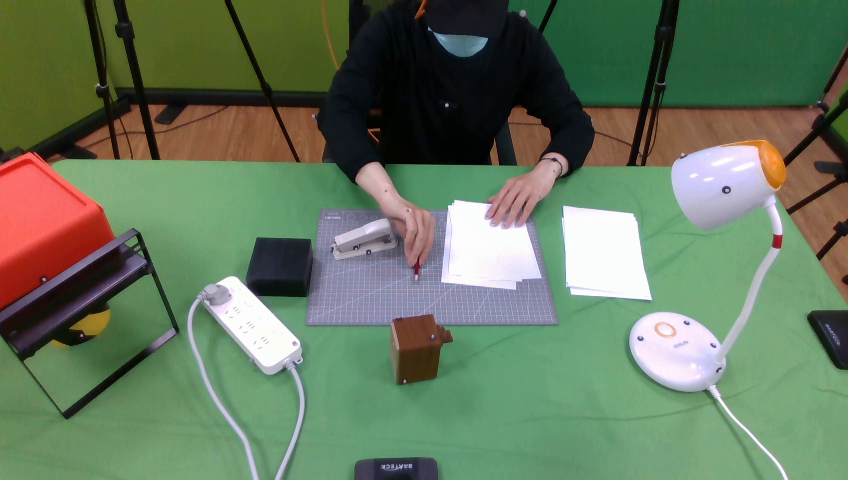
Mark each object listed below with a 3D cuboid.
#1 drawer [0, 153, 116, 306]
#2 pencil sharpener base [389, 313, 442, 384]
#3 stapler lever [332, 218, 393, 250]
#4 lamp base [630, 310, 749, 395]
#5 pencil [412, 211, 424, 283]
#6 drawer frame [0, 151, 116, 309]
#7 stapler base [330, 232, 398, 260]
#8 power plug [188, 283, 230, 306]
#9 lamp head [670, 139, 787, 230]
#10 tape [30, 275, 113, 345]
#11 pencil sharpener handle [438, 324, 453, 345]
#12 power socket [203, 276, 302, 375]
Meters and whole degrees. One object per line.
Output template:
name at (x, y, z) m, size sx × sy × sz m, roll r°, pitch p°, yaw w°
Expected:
drawer at (-0.601, -0.015, 0.880) m, size 0.193 × 0.073 × 0.211 m, roll 32°, pitch 53°, yaw 23°
pencil sharpener base at (-0.013, 0.175, 0.971) m, size 0.077 × 0.107 × 0.061 m, roll -8°, pitch 47°, yaw -11°
stapler lever at (-0.116, -0.012, 1.161) m, size 0.118 × 0.040 × 0.026 m, roll -13°, pitch 48°, yaw -14°
lamp base at (0.447, 0.143, 0.984) m, size 0.161 × 0.181 × 0.178 m, roll -24°, pitch 55°, yaw -24°
pencil at (-0.012, 0.010, 1.189) m, size 0.012 × 0.012 × 0.193 m, roll 5°, pitch 46°, yaw 1°
drawer frame at (-0.604, -0.013, 0.876) m, size 0.201 × 0.083 × 0.213 m, roll 31°, pitch 52°, yaw 23°
stapler base at (-0.116, 0.004, 1.181) m, size 0.131 × 0.024 × 0.041 m, roll -13°, pitch 48°, yaw -14°
power plug at (-0.368, 0.099, 1.037) m, size 0.072 × 0.053 × 0.035 m, roll -24°, pitch 52°, yaw -26°
lamp head at (0.415, -0.079, 0.812) m, size 0.113 × 0.123 × 0.112 m, roll 13°, pitch 70°, yaw -37°
tape at (-0.593, 0.117, 1.021) m, size 0.117 × 0.053 × 0.116 m, roll 2°, pitch 46°, yaw -2°
pencil sharpener handle at (0.036, 0.155, 0.976) m, size 0.031 × 0.068 × 0.036 m, roll -8°, pitch 70°, yaw -11°
power socket at (-0.297, 0.141, 1.034) m, size 0.072 × 0.033 × 0.225 m, roll -34°, pitch 58°, yaw -30°
